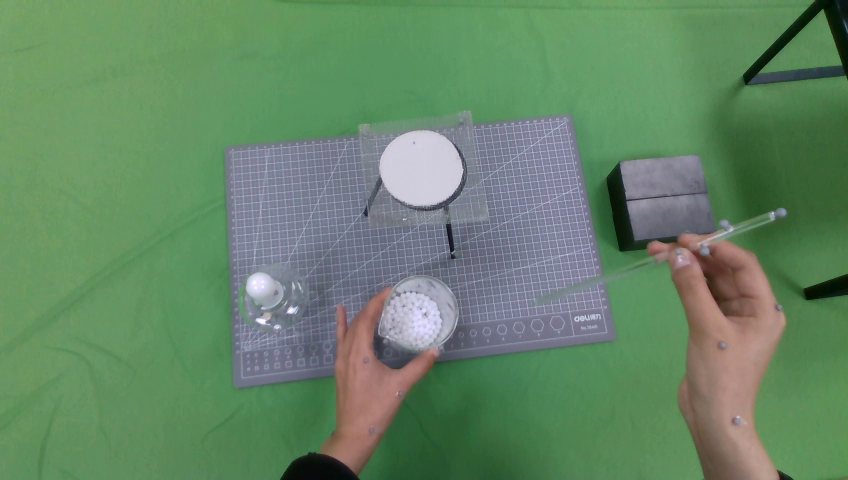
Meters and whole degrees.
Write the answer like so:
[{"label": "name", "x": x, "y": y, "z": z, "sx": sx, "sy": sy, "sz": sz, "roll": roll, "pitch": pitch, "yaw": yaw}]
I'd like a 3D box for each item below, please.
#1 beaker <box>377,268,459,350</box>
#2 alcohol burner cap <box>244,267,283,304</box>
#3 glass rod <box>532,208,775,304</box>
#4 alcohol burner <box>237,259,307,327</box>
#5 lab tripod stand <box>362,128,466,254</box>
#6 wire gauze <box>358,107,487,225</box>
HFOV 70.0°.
[{"label": "beaker", "x": -0.013, "y": 0.078, "z": 0.630, "sx": 0.084, "sy": 0.100, "sz": 0.073, "roll": -25, "pitch": 82, "yaw": -13}, {"label": "alcohol burner cap", "x": -0.168, "y": 0.046, "z": 0.629, "sx": 0.034, "sy": 0.048, "sz": 0.033, "roll": -1, "pitch": 71, "yaw": 2}, {"label": "glass rod", "x": 0.159, "y": 0.017, "z": 0.454, "sx": 0.008, "sy": 0.199, "sz": 0.008, "roll": 23, "pitch": 54, "yaw": -36}, {"label": "alcohol burner", "x": -0.169, "y": 0.055, "z": 0.664, "sx": 0.078, "sy": 0.119, "sz": 0.077, "roll": 1, "pitch": 76, "yaw": -3}, {"label": "lab tripod stand", "x": -0.002, "y": -0.063, "z": 0.693, "sx": 0.148, "sy": 0.132, "sz": 0.147, "roll": 0, "pitch": 73, "yaw": -1}, {"label": "wire gauze", "x": -0.003, "y": -0.076, "z": 0.627, "sx": 0.125, "sy": 0.011, "sz": 0.121, "roll": -6, "pitch": 76, "yaw": -4}]
